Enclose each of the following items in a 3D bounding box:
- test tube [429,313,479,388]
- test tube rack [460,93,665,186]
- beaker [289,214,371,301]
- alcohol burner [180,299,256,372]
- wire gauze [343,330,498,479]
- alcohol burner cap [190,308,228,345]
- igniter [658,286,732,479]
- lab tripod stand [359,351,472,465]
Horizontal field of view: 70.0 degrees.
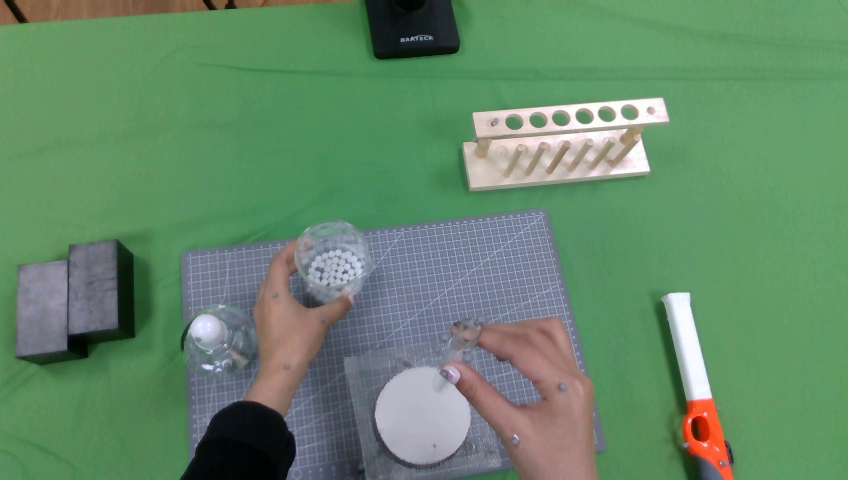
[{"bbox_3d":[0.019,0.084,0.435,0.017,0.151,0.017,3,64,-5],"label":"test tube"},{"bbox_3d":[0.174,-0.126,0.767,0.243,0.085,0.066,-6,72,-8],"label":"test tube rack"},{"bbox_3d":[-0.099,0.024,0.657,0.084,0.100,0.073,17,72,-1],"label":"beaker"},{"bbox_3d":[-0.218,0.095,0.630,0.078,0.120,0.077,2,69,-4],"label":"alcohol burner"},{"bbox_3d":[-0.004,0.149,0.553,0.125,0.011,0.120,-9,71,-10],"label":"wire gauze"},{"bbox_3d":[-0.213,0.084,0.596,0.034,0.048,0.033,3,72,-9],"label":"alcohol burner cap"},{"bbox_3d":[0.318,0.189,0.706,0.057,0.025,0.274,0,71,-16],"label":"igniter"},{"bbox_3d":[-0.011,0.175,0.615,0.148,0.132,0.147,2,70,-4],"label":"lab tripod stand"}]
